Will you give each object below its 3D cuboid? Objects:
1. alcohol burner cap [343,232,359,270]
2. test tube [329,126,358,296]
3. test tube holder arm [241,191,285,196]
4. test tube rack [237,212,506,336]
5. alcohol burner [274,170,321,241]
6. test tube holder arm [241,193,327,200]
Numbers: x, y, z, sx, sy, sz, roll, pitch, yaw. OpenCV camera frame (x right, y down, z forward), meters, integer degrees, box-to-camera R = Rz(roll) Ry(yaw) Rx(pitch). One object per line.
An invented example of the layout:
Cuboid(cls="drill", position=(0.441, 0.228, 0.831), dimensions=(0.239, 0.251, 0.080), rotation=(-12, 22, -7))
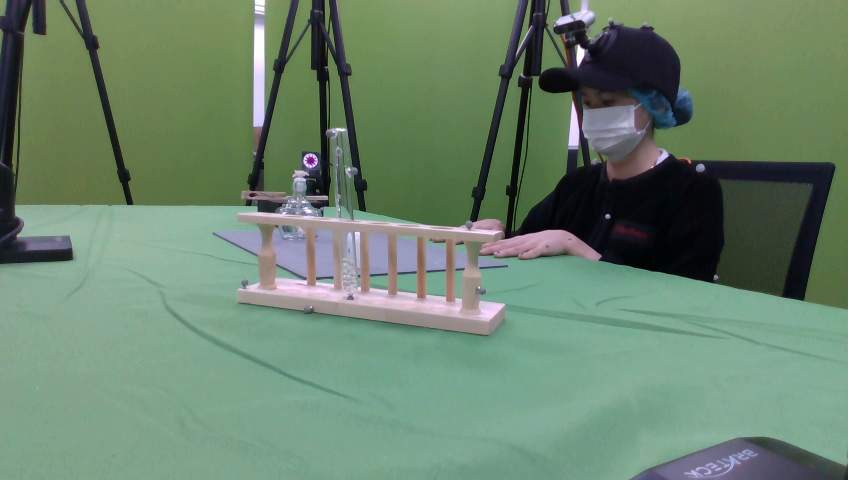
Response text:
Cuboid(cls="alcohol burner cap", position=(-0.087, 0.013, 0.777), dimensions=(0.034, 0.048, 0.034), rotation=(3, 7, 0))
Cuboid(cls="test tube", position=(-0.071, -0.025, 0.535), dimensions=(0.017, 0.150, 0.017), rotation=(-3, 8, 1))
Cuboid(cls="test tube holder arm", position=(-0.328, -0.095, 1.238), dimensions=(0.088, 0.010, 0.015), rotation=(-2, 7, -29))
Cuboid(cls="test tube rack", position=(-0.049, 0.024, 0.552), dimensions=(0.242, 0.085, 0.067), rotation=(5, 8, 18))
Cuboid(cls="alcohol burner", position=(-0.212, -0.058, 1.015), dimensions=(0.078, 0.119, 0.078), rotation=(4, 5, 0))
Cuboid(cls="test tube holder arm", position=(-0.288, -0.091, 1.261), dimensions=(0.179, 0.013, 0.015), rotation=(-3, 7, -29))
